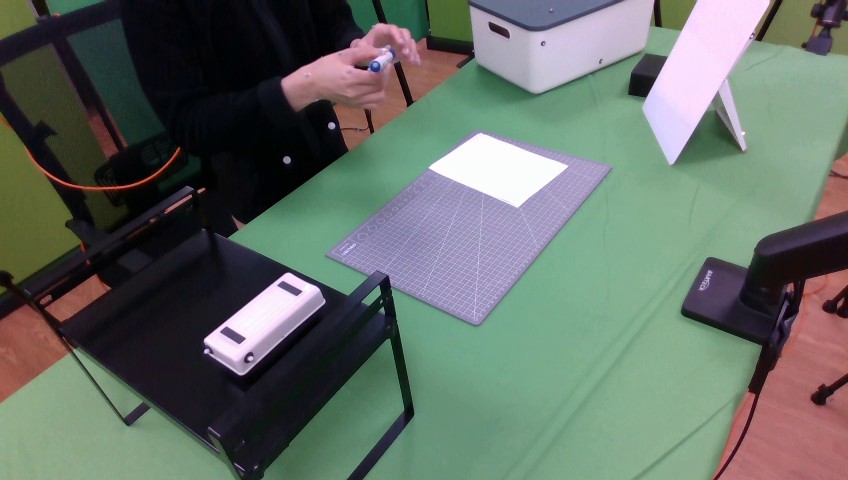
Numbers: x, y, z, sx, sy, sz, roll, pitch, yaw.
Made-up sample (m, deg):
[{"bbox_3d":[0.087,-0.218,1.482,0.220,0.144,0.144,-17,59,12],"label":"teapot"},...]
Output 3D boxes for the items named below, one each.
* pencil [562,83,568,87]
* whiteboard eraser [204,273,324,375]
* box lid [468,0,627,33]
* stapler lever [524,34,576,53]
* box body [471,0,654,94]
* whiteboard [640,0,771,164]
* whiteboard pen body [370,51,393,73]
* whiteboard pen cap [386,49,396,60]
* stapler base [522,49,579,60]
[{"bbox_3d":[0.248,-0.393,1.398,0.193,0.012,0.012,31,52,24],"label":"pencil"},{"bbox_3d":[-0.157,0.084,0.605,0.055,0.042,0.113,24,49,30],"label":"whiteboard eraser"},{"bbox_3d":[0.312,-0.554,1.358,0.373,0.015,0.261,-26,44,-20],"label":"box lid"},{"bbox_3d":[0.297,-0.463,1.424,0.117,0.040,0.027,5,22,17],"label":"stapler lever"},{"bbox_3d":[0.319,-0.498,1.405,0.365,0.161,0.252,-26,43,-21],"label":"box body"},{"bbox_3d":[0.543,-0.299,1.076,0.144,0.305,0.216,12,40,-7],"label":"whiteboard"},{"bbox_3d":[-0.058,-0.258,0.871,0.017,0.017,0.140,-1,24,7],"label":"whiteboard pen body"},{"bbox_3d":[-0.054,-0.282,0.925,0.018,0.018,0.033,-2,23,6],"label":"whiteboard pen cap"},{"bbox_3d":[0.300,-0.441,1.433,0.130,0.024,0.041,3,21,18],"label":"stapler base"}]
